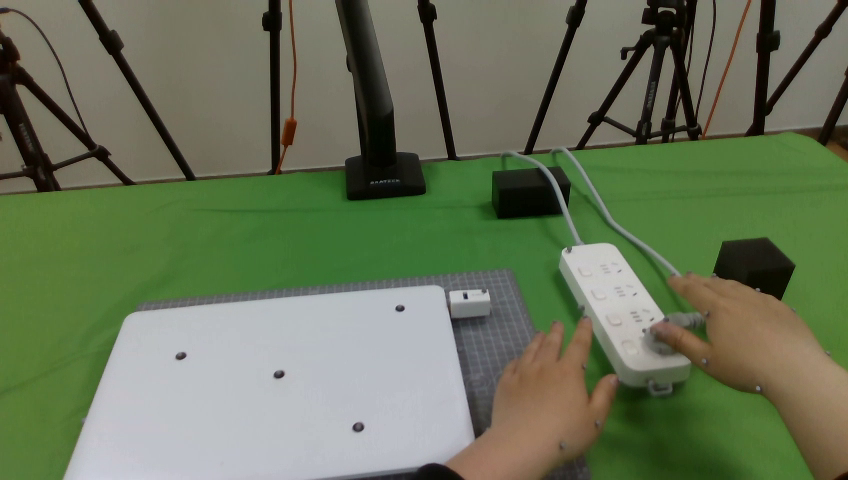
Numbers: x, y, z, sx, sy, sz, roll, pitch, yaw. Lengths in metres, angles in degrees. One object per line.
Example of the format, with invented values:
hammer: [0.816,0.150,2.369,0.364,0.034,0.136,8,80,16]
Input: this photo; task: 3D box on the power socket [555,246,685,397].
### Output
power socket: [0.210,0.078,0.674,0.072,0.033,0.224,-4,35,-7]

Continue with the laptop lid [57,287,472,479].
laptop lid: [-0.144,0.138,0.591,0.357,0.013,0.239,-4,37,-4]

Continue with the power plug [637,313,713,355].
power plug: [0.251,0.101,0.606,0.072,0.053,0.035,3,36,2]

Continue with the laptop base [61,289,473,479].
laptop base: [-0.144,0.146,0.600,0.355,0.023,0.233,-5,39,-5]

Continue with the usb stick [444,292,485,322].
usb stick: [0.038,0.075,0.675,0.059,0.027,0.021,-7,35,-2]
